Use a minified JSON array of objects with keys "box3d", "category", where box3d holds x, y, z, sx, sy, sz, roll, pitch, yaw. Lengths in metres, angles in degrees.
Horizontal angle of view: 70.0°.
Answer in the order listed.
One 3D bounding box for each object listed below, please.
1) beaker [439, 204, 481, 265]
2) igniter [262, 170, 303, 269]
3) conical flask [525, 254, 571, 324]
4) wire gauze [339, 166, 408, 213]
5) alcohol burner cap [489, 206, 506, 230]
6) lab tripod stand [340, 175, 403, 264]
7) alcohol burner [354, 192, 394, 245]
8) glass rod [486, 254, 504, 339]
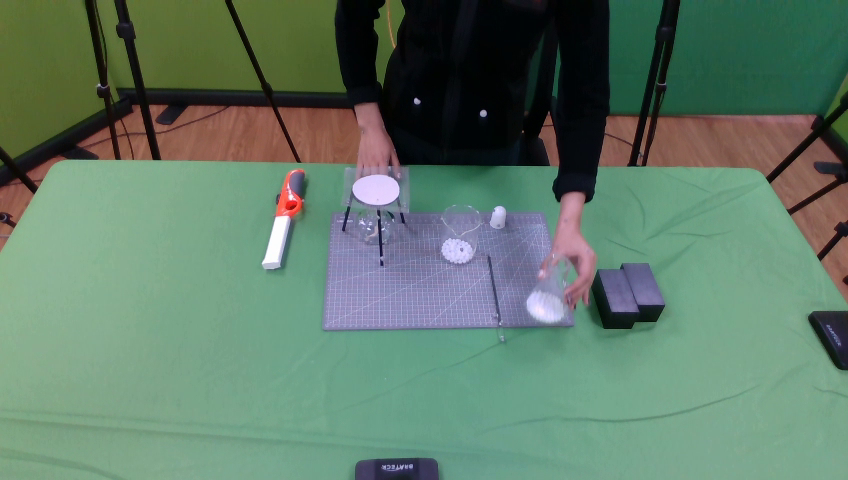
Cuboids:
[{"box3d":[0.066,-0.006,1.154,0.074,0.101,0.083,8,47,4],"category":"beaker"},{"box3d":[-0.283,-0.050,1.222,0.057,0.025,0.275,-5,45,6],"category":"igniter"},{"box3d":[0.214,0.078,1.010,0.075,0.122,0.075,2,45,-2],"category":"conical flask"},{"box3d":[-0.091,-0.096,1.110,0.125,0.011,0.120,2,45,-3],"category":"wire gauze"},{"box3d":[0.152,-0.047,1.241,0.034,0.048,0.033,2,45,-1],"category":"alcohol burner cap"},{"box3d":[-0.093,-0.050,1.160,0.148,0.132,0.147,2,44,-2],"category":"lab tripod stand"},{"box3d":[-0.096,-0.048,1.171,0.078,0.119,0.077,4,45,-4],"category":"alcohol burner"},{"box3d":[0.130,0.100,1.119,0.008,0.008,0.198,-1,46,-4],"category":"glass rod"}]
